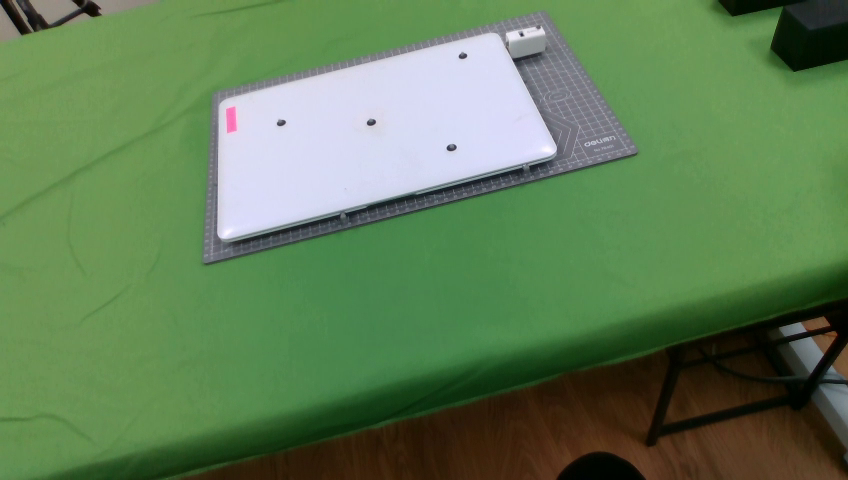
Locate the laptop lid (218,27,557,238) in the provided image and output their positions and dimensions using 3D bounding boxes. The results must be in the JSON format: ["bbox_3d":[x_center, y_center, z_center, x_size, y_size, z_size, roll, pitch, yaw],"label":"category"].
[{"bbox_3d":[-0.057,-0.132,0.671,0.357,0.013,0.239,-14,51,0],"label":"laptop lid"}]

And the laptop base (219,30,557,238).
[{"bbox_3d":[-0.055,-0.127,0.681,0.354,0.023,0.233,-15,52,-1],"label":"laptop base"}]

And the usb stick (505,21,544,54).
[{"bbox_3d":[0.114,-0.241,0.726,0.059,0.027,0.021,-15,49,2],"label":"usb stick"}]
